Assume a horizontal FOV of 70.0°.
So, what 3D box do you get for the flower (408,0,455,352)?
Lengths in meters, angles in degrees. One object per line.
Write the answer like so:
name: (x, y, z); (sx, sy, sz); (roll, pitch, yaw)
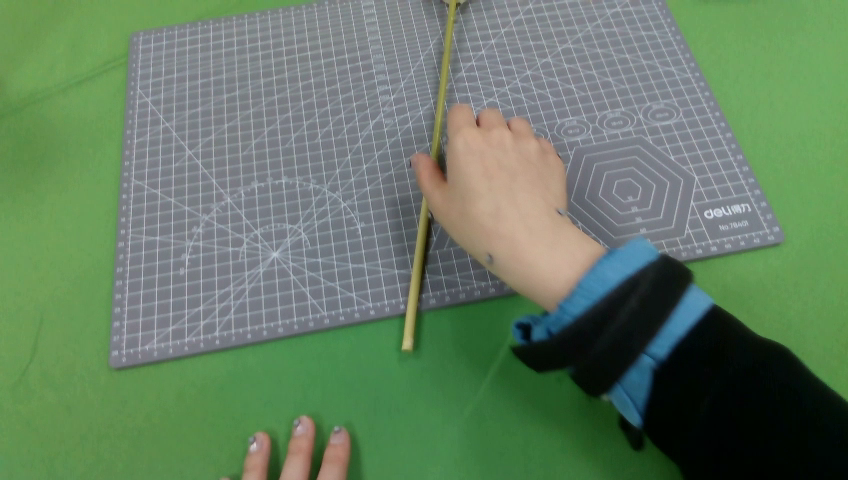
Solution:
flower: (0.011, -0.094, 0.456); (0.044, 0.038, 0.359); (18, 65, -29)
